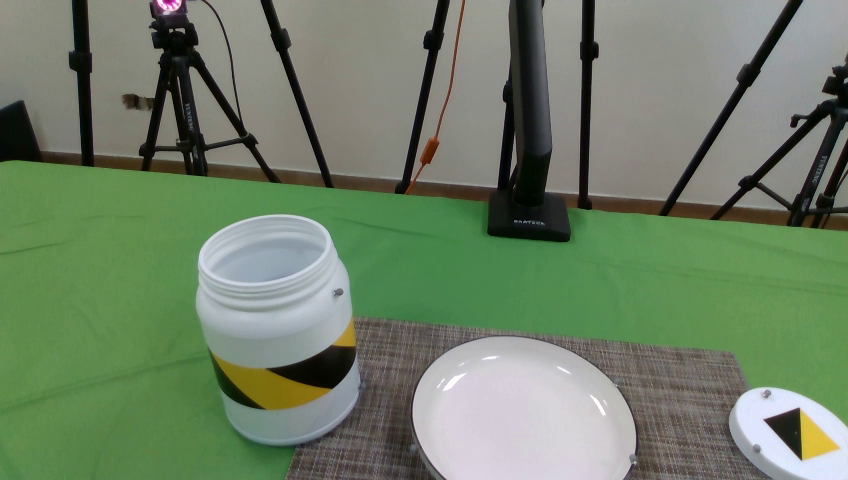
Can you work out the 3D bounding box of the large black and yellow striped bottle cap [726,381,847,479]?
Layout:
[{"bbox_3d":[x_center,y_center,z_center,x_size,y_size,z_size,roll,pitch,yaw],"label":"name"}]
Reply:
[{"bbox_3d":[0.355,0.184,0.585,0.115,0.019,0.114,5,35,-3],"label":"large black and yellow striped bottle cap"}]

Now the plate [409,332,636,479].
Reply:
[{"bbox_3d":[0.089,0.170,0.566,0.208,0.039,0.205,2,34,-1],"label":"plate"}]

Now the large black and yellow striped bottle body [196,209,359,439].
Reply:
[{"bbox_3d":[-0.131,0.076,0.558,0.131,0.185,0.129,0,34,1],"label":"large black and yellow striped bottle body"}]
